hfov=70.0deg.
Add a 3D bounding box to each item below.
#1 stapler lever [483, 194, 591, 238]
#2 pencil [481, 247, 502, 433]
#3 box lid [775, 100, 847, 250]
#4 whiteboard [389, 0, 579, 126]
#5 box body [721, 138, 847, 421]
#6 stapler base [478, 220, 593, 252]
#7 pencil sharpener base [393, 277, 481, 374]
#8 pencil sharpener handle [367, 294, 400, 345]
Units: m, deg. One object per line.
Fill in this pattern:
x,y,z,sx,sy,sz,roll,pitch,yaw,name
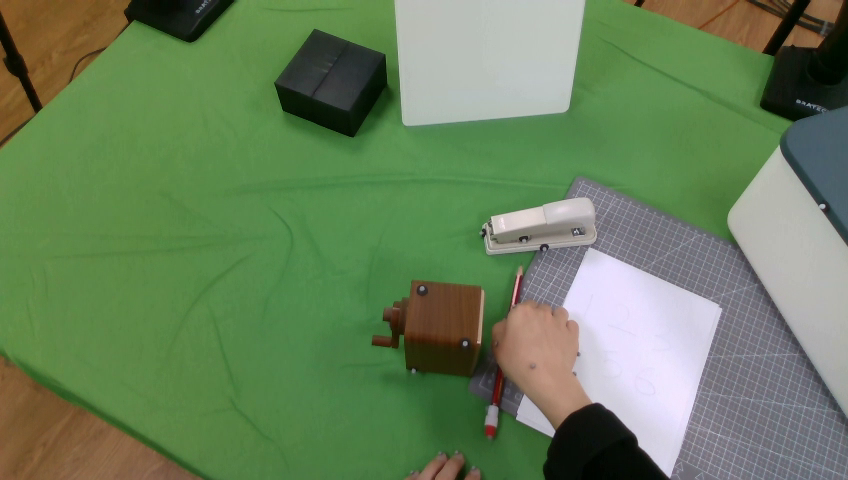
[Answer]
0.126,-0.026,0.669,0.118,0.040,0.026,-6,59,-2,stapler lever
0.071,0.098,0.623,0.012,0.012,0.193,6,72,2,pencil
0.508,0.008,0.530,0.264,0.015,0.368,-17,65,-10,box lid
0.063,-0.313,0.719,0.217,0.308,0.142,-5,44,-4,whiteboard
0.507,0.044,0.595,0.254,0.161,0.360,-17,65,-10,box body
0.128,-0.015,0.691,0.130,0.024,0.041,-7,59,-1,stapler base
0.011,0.086,0.592,0.076,0.108,0.061,6,63,2,pencil sharpener base
-0.040,0.078,0.579,0.030,0.068,0.035,6,46,2,pencil sharpener handle
